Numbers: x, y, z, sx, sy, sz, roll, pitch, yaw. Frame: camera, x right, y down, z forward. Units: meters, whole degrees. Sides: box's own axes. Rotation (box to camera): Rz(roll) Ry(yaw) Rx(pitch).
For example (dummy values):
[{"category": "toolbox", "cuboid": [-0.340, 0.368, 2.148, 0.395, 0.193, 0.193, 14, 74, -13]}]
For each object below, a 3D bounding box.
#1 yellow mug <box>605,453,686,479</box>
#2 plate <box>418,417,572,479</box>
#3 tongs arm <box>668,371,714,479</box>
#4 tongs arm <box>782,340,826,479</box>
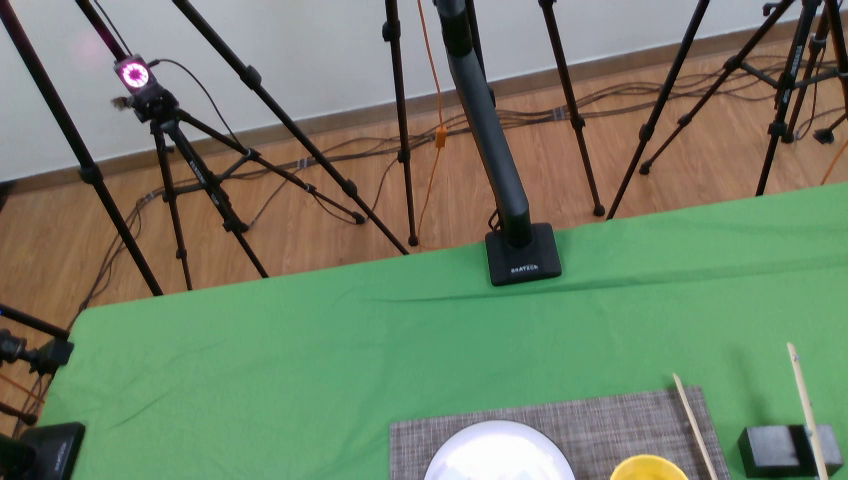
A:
[{"category": "yellow mug", "cuboid": [0.266, 0.334, 0.741, 0.099, 0.064, 0.130, 19, 60, 26]}, {"category": "plate", "cuboid": [0.094, 0.341, 0.801, 0.207, 0.039, 0.205, -7, 52, 9]}, {"category": "tongs arm", "cuboid": [0.377, 0.332, 0.735, 0.028, 0.028, 0.383, -28, 47, 21]}, {"category": "tongs arm", "cuboid": [0.441, 0.301, 0.694, 0.050, 0.027, 0.381, -19, 52, 32]}]
